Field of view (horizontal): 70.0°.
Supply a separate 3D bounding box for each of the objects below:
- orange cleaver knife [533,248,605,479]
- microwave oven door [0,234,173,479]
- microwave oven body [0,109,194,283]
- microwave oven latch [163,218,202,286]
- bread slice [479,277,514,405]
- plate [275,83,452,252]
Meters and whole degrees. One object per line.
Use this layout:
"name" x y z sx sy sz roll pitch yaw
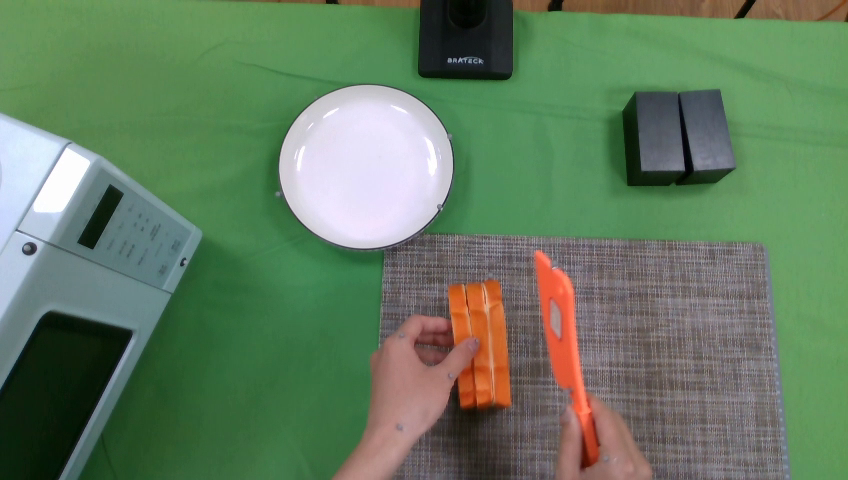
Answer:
"orange cleaver knife" 0.127 0.110 0.537 0.012 0.077 0.212 -16 103 -10
"microwave oven door" -0.366 0.182 0.534 0.039 0.245 0.354 22 77 6
"microwave oven body" -0.484 0.091 0.560 0.325 0.261 0.440 22 78 4
"microwave oven latch" -0.279 0.011 0.680 0.030 0.029 0.079 24 78 5
"bread slice" 0.074 0.107 0.639 0.018 0.107 0.133 -5 77 -1
"plate" -0.069 -0.085 0.722 0.208 0.039 0.206 0 77 -1
